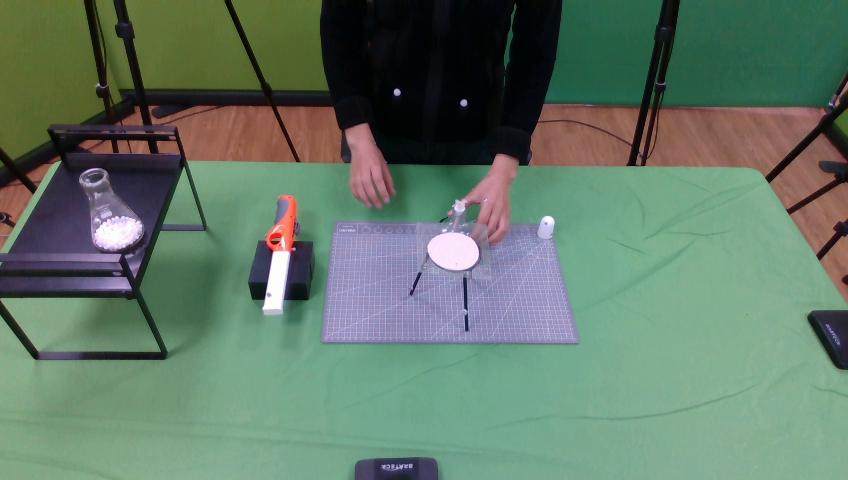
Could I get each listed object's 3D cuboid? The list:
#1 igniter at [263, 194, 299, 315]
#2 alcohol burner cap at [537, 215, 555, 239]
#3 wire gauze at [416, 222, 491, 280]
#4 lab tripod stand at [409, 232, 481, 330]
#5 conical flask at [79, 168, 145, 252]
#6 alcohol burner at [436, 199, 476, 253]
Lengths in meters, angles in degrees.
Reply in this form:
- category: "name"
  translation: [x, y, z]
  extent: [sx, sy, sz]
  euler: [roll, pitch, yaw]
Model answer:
- category: "igniter"
  translation: [-0.259, 0.016, 1.093]
  extent: [0.057, 0.025, 0.274]
  euler: [-3, 49, -2]
- category: "alcohol burner cap"
  translation: [0.249, -0.029, 1.228]
  extent: [0.034, 0.048, 0.033]
  euler: [2, 48, -1]
- category: "wire gauze"
  translation: [0.047, 0.014, 1.013]
  extent: [0.125, 0.011, 0.120]
  euler: [3, 47, -3]
- category: "lab tripod stand"
  translation: [0.051, 0.064, 1.059]
  extent: [0.148, 0.132, 0.147]
  euler: [3, 47, -3]
- category: "conical flask"
  translation: [-0.463, -0.048, 0.888]
  extent: [0.075, 0.122, 0.075]
  euler: [2, 46, -2]
- category: "alcohol burner"
  translation: [0.063, -0.032, 1.166]
  extent: [0.078, 0.119, 0.077]
  euler: [3, 45, -3]
